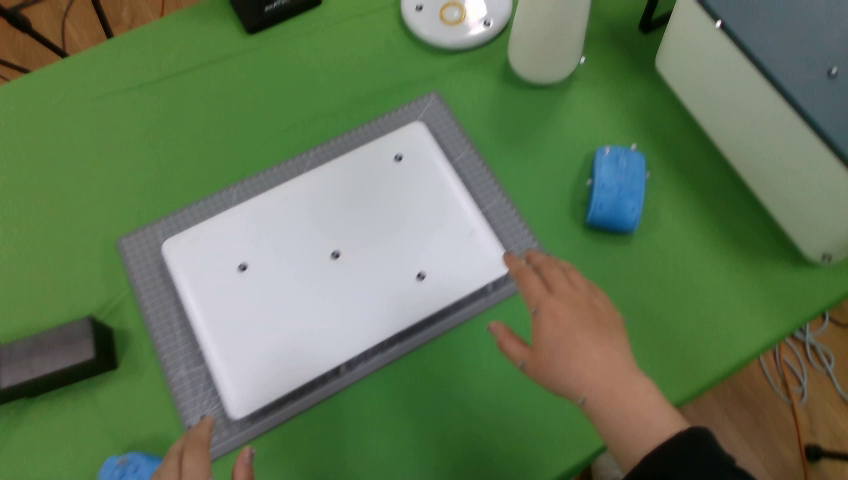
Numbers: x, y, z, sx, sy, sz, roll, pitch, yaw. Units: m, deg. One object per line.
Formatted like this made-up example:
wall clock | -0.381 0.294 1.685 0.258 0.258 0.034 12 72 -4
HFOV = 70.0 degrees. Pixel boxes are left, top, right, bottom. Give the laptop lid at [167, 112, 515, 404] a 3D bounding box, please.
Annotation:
laptop lid | -0.098 0.006 0.712 0.357 0.013 0.240 -26 72 -9

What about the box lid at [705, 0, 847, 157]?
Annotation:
box lid | 0.484 -0.228 0.654 0.263 0.015 0.368 -26 69 -10

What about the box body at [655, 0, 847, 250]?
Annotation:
box body | 0.487 -0.197 0.722 0.254 0.161 0.361 -26 70 -9

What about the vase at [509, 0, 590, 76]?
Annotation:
vase | 0.159 -0.296 0.747 0.098 0.201 0.097 -1 67 3

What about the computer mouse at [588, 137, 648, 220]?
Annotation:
computer mouse | 0.240 -0.080 0.745 0.062 0.041 0.116 11 64 9

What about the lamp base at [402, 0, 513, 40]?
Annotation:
lamp base | 0.046 -0.393 0.799 0.160 0.181 0.178 4 65 3

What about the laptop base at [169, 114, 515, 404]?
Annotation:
laptop base | -0.099 0.009 0.724 0.354 0.023 0.234 -28 73 -10

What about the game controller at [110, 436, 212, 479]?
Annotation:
game controller | -0.292 0.273 0.604 0.097 0.052 0.154 19 69 12

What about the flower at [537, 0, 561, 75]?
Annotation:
flower | 0.167 -0.342 0.677 0.043 0.365 0.038 38 56 25
